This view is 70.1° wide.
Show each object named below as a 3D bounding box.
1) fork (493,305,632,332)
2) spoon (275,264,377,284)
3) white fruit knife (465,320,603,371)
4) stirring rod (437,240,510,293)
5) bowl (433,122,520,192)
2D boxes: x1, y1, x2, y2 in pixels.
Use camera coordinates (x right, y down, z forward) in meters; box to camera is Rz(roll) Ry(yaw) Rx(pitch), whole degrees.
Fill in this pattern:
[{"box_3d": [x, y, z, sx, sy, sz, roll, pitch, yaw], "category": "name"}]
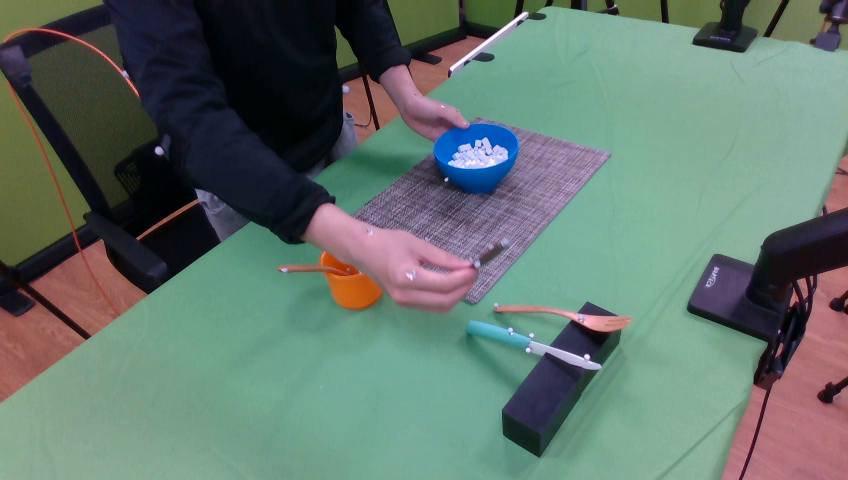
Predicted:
[{"box_3d": [0.171, 0.097, 0.783, 0.205, 0.019, 0.028, 4, 41, 43], "category": "fork"}, {"box_3d": [-0.133, 0.044, 0.839, 0.041, 0.021, 0.195, 23, 4, 33], "category": "spoon"}, {"box_3d": [0.128, 0.129, 0.750, 0.205, 0.027, 0.016, 10, 45, 43], "category": "white fruit knife"}, {"box_3d": [0.049, 0.032, 0.652, 0.014, 0.175, 0.006, -8, 73, -23], "category": "stirring rod"}, {"box_3d": [0.093, -0.137, 1.064, 0.151, 0.077, 0.150, -4, 40, 4], "category": "bowl"}]
